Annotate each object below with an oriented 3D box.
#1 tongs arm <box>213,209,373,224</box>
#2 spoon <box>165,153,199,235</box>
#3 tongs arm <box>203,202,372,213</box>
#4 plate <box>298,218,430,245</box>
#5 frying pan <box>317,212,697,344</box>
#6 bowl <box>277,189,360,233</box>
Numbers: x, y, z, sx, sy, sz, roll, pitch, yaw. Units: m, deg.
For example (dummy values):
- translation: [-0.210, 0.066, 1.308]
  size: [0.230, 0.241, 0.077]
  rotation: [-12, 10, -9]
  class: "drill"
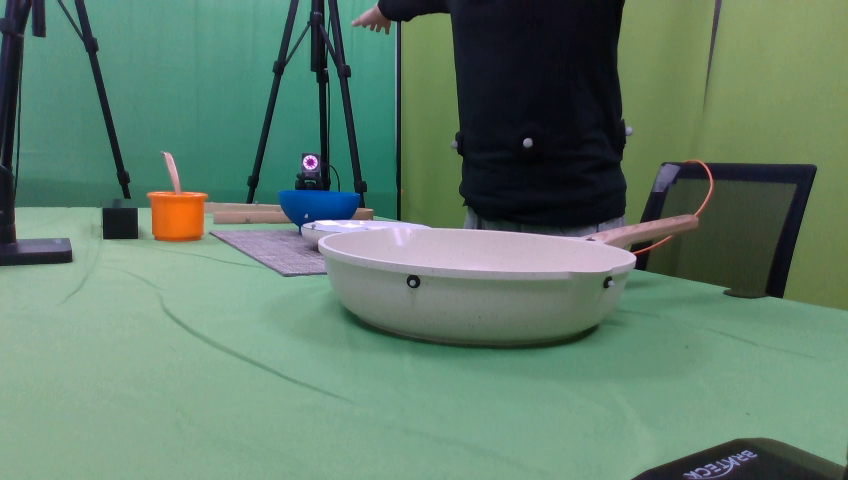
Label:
- translation: [-0.274, -0.053, 1.346]
  size: [0.390, 0.028, 0.028]
  rotation: [-3, 7, -37]
  class: "tongs arm"
- translation: [-0.417, -0.081, 1.027]
  size: [0.042, 0.193, 0.021]
  rotation: [1, -37, -37]
  class: "spoon"
- translation: [-0.312, -0.068, 1.417]
  size: [0.387, 0.026, 0.050]
  rotation: [1, 9, -24]
  class: "tongs arm"
- translation: [-0.091, -0.006, 0.949]
  size: [0.208, 0.039, 0.207]
  rotation: [2, 7, 0]
  class: "plate"
- translation: [0.133, 0.013, 0.630]
  size: [0.490, 0.102, 0.305]
  rotation: [-12, 14, -31]
  class: "frying pan"
- translation: [-0.195, -0.052, 1.118]
  size: [0.151, 0.077, 0.151]
  rotation: [2, 7, 0]
  class: "bowl"
